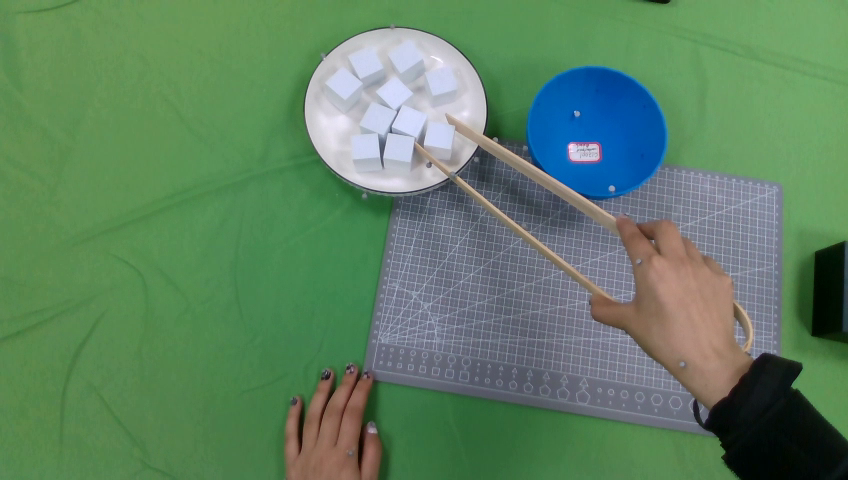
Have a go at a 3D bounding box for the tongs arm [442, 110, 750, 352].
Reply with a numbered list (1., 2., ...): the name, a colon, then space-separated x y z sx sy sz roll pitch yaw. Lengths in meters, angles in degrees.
1. tongs arm: 0.142 -0.030 0.580 0.028 0.028 0.383 -42 57 -9

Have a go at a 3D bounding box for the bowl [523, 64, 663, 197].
1. bowl: 0.178 -0.110 0.677 0.151 0.077 0.150 1 76 -3

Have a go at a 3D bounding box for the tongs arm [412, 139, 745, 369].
1. tongs arm: 0.121 -0.008 0.577 0.051 0.027 0.380 -42 57 -5

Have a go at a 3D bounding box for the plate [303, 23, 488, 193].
1. plate: -0.032 -0.149 0.697 0.208 0.039 0.206 1 75 -2
